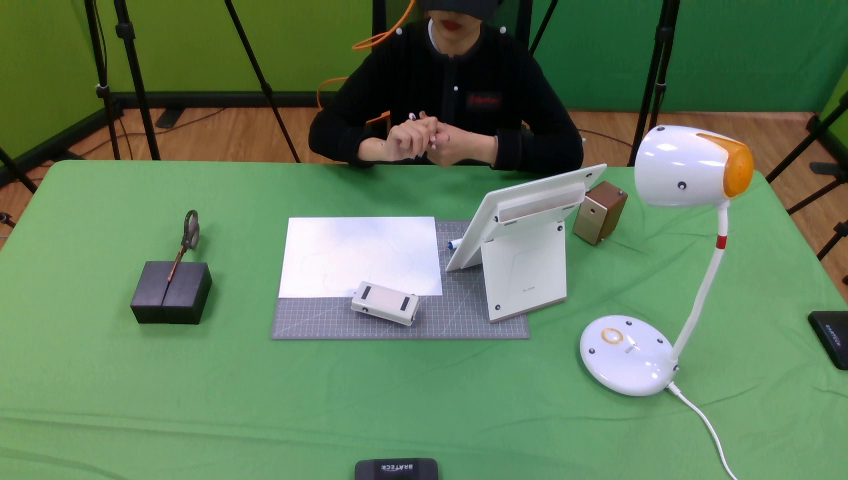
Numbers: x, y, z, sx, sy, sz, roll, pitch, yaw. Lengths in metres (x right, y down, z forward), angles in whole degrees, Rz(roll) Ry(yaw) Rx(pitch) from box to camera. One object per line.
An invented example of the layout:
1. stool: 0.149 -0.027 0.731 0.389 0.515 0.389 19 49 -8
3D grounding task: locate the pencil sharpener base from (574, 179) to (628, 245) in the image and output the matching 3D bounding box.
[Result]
1. pencil sharpener base: 0.355 -0.057 1.217 0.076 0.107 0.061 -33 56 -31

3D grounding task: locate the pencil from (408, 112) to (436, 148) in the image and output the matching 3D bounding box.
1. pencil: -0.004 -0.219 1.196 0.012 0.012 0.193 -9 32 -12

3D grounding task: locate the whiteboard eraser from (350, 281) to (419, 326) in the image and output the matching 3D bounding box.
1. whiteboard eraser: -0.069 0.113 1.065 0.112 0.042 0.055 14 46 9

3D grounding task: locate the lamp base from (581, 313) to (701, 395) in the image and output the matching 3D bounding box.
1. lamp base: 0.361 0.144 0.972 0.178 0.181 0.160 34 53 23

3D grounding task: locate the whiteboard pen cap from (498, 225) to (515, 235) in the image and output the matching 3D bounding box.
1. whiteboard pen cap: 0.166 -0.019 1.222 0.033 0.018 0.018 -14 49 -19

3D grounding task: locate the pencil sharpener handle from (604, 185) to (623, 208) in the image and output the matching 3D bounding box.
1. pencil sharpener handle: 0.390 -0.092 1.235 0.030 0.068 0.036 -33 70 -31

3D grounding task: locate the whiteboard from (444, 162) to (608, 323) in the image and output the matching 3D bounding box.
1. whiteboard: 0.186 0.025 1.029 0.217 0.306 0.143 -14 68 -18

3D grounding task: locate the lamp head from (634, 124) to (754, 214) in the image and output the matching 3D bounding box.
1. lamp head: 0.351 -0.089 0.775 0.112 0.113 0.122 -30 30 -28

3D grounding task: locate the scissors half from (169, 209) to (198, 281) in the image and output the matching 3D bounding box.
1. scissors half: -0.438 0.007 1.099 0.013 0.040 0.174 4 48 -5

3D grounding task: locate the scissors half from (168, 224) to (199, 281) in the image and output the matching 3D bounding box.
1. scissors half: -0.441 0.023 1.111 0.013 0.040 0.174 9 29 -8

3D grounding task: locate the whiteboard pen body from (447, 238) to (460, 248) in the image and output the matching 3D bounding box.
1. whiteboard pen body: 0.112 -0.005 1.204 0.141 0.017 0.017 -14 49 -18
